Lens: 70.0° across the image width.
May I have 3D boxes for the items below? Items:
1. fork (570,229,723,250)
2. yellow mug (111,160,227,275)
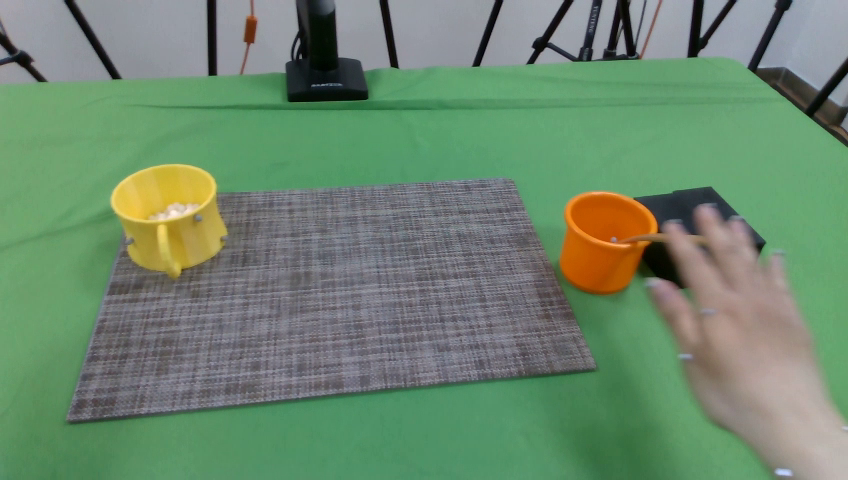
[{"bbox_3d":[0.202,0.000,0.577,0.028,0.018,0.207,-4,-3,-18],"label":"fork"},{"bbox_3d":[-0.258,-0.019,0.619,0.100,0.064,0.129,-8,44,-14],"label":"yellow mug"}]
